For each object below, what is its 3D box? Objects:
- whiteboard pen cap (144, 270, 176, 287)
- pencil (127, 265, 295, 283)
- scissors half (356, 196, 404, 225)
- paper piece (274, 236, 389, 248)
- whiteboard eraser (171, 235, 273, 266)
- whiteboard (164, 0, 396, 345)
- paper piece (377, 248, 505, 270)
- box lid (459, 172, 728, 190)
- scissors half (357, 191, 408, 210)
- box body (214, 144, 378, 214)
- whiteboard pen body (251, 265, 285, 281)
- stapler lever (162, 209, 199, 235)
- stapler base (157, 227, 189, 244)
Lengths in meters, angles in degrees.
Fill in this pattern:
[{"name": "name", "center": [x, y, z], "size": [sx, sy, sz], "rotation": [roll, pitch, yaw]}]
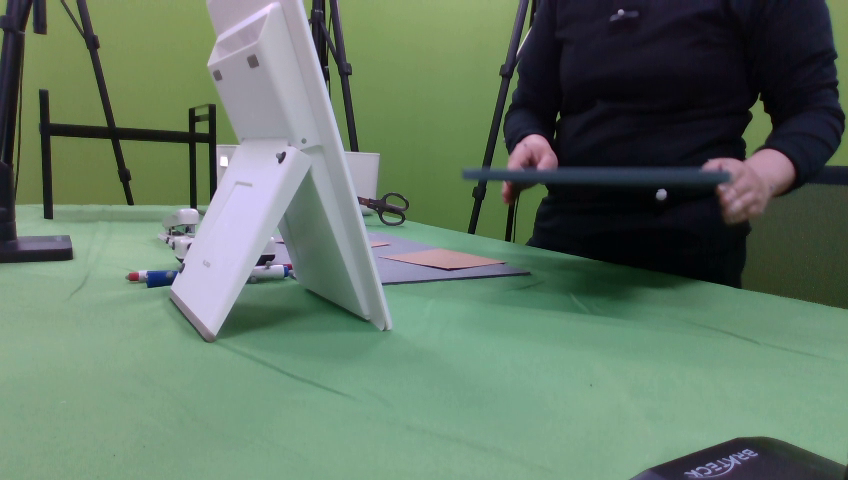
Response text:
[{"name": "whiteboard pen cap", "center": [-0.271, 0.039, 0.627], "size": [0.033, 0.018, 0.018], "rotation": [-3, 10, -32]}, {"name": "pencil", "center": [-0.231, 0.037, 0.690], "size": [0.195, 0.012, 0.012], "rotation": [-2, 9, -34]}, {"name": "scissors half", "center": [-0.127, -0.072, 1.321], "size": [0.175, 0.040, 0.013], "rotation": [22, 4, -5]}, {"name": "paper piece", "center": [-0.151, 0.003, 0.978], "size": [0.135, 0.008, 0.139], "rotation": [13, 10, 35]}, {"name": "whiteboard eraser", "center": [-0.248, 0.014, 0.747], "size": [0.113, 0.042, 0.055], "rotation": [-1, 10, -32]}, {"name": "whiteboard", "center": [-0.173, -0.053, 0.511], "size": [0.144, 0.305, 0.216], "rotation": [-23, 19, -26]}, {"name": "paper piece", "center": [0.025, 0.026, 0.865], "size": [0.134, 0.004, 0.136], "rotation": [10, 11, 43]}, {"name": "box lid", "center": [0.216, -0.069, 0.744], "size": [0.262, 0.015, 0.373], "rotation": [4, 6, 21]}, {"name": "scissors half", "center": [-0.123, -0.092, 1.318], "size": [0.175, 0.040, 0.013], "rotation": [5, 11, -3]}, {"name": "box body", "center": [-0.328, -0.154, 1.543], "size": [0.366, 0.160, 0.253], "rotation": [-2, 9, -32]}, {"name": "whiteboard pen body", "center": [-0.220, 0.039, 0.656], "size": [0.141, 0.017, 0.017], "rotation": [-2, 9, -31]}, {"name": "stapler lever", "center": [-0.376, -0.031, 0.933], "size": [0.027, 0.040, 0.117], "rotation": [0, 7, -38]}, {"name": "stapler base", "center": [-0.376, -0.008, 0.935], "size": [0.041, 0.024, 0.130], "rotation": [1, 5, -38]}]
